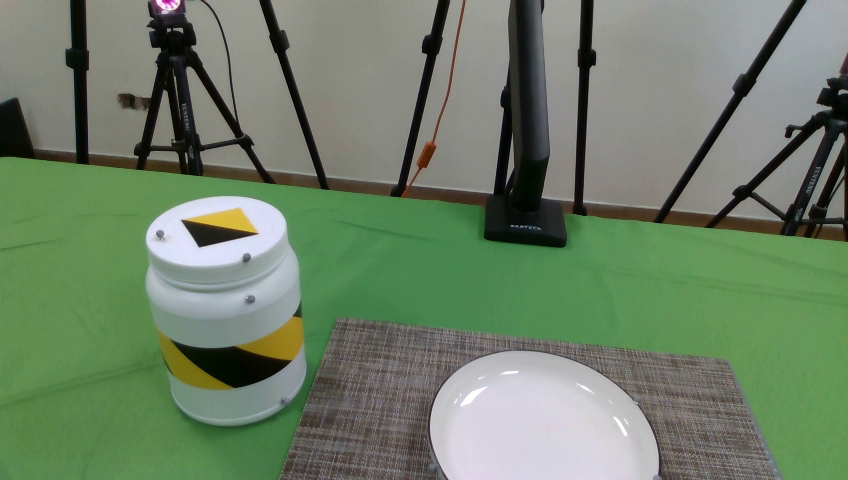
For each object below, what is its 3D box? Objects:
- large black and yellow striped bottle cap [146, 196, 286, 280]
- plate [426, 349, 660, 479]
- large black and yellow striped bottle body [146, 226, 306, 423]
[{"bbox_3d":[-0.179,-0.005,0.526,0.115,0.019,0.114,4,32,-2],"label":"large black and yellow striped bottle cap"},{"bbox_3d":[0.105,0.185,0.553,0.208,0.039,0.205,3,33,-2],"label":"plate"},{"bbox_3d":[-0.183,0.066,0.573,0.131,0.185,0.129,3,34,-2],"label":"large black and yellow striped bottle body"}]
